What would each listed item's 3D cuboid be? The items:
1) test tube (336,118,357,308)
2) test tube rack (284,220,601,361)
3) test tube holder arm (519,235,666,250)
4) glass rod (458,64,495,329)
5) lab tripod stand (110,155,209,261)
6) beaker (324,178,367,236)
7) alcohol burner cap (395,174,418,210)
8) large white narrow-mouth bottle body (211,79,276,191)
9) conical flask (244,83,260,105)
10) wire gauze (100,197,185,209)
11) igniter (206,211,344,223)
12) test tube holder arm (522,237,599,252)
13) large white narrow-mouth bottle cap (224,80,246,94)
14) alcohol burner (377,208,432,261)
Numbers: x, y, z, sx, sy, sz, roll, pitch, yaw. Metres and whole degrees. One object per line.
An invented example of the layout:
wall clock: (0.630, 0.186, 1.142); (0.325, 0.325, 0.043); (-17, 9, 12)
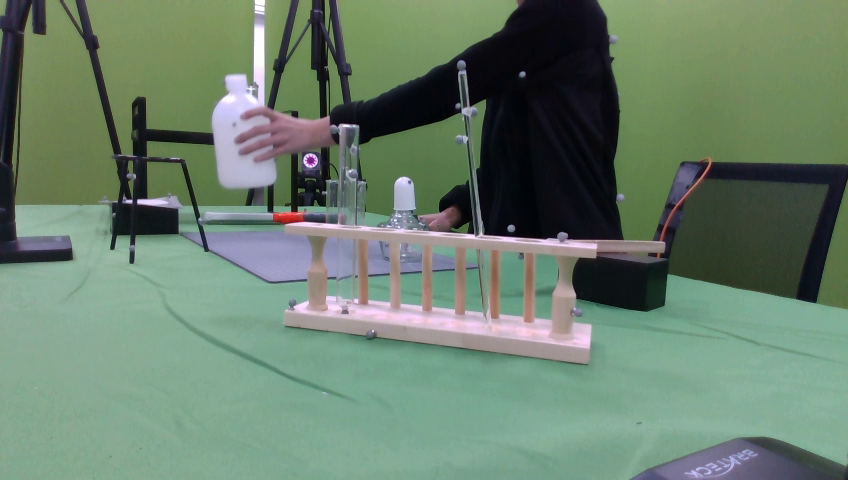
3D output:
test tube: (-0.061, -0.019, 0.476); (0.017, 0.150, 0.017); (2, 11, 0)
test tube rack: (0.013, 0.032, 0.482); (0.242, 0.085, 0.067); (4, 7, 16)
test tube holder arm: (0.186, 0.003, 0.656); (0.179, 0.015, 0.013); (-1, 16, -19)
glass rod: (0.040, -0.029, 0.450); (0.008, 0.199, 0.008); (-7, 9, 1)
lab tripod stand: (-0.361, -0.046, 0.806); (0.148, 0.131, 0.148); (2, 5, 0)
beaker: (-0.139, -0.060, 1.083); (0.074, 0.100, 0.083); (-3, 9, -31)
alcohol burner cap: (-0.026, -0.067, 0.833); (0.034, 0.048, 0.034); (-1, 12, 1)
large white narrow-mouth bottle body: (-0.331, -0.191, 1.099); (0.102, 0.194, 0.101); (-4, 13, 1)
conical flask: (-0.400, -0.298, 1.396); (0.075, 0.122, 0.075); (2, 8, 0)
wire gauze: (-0.469, -0.062, 1.008); (0.126, 0.011, 0.121); (-2, 8, -25)
igniter: (-0.302, -0.048, 1.250); (0.278, 0.025, 0.057); (-2, -2, -26)
test tube holder arm: (0.144, 0.005, 0.636); (0.088, 0.015, 0.010); (-1, 16, -19)
large white narrow-mouth bottle cap: (-0.339, -0.274, 1.080); (0.038, 0.024, 0.037); (-4, 13, 1)
alcohol burner: (-0.027, -0.031, 0.838); (0.078, 0.119, 0.078); (0, 6, 0)
